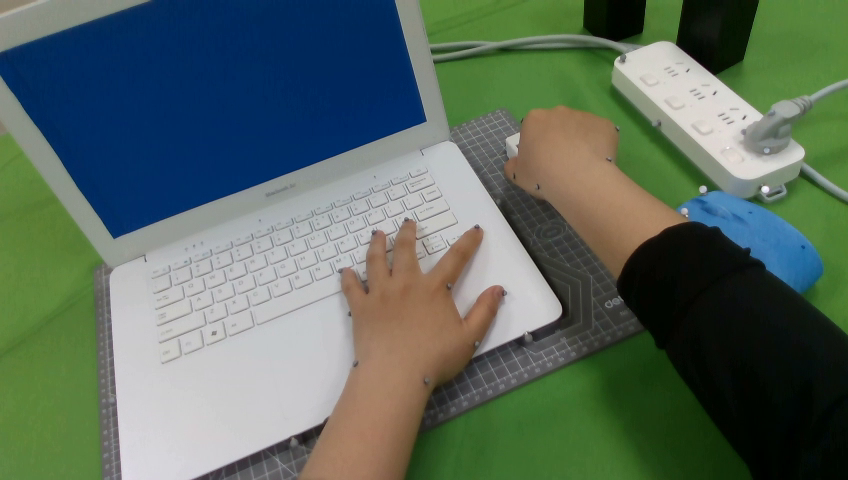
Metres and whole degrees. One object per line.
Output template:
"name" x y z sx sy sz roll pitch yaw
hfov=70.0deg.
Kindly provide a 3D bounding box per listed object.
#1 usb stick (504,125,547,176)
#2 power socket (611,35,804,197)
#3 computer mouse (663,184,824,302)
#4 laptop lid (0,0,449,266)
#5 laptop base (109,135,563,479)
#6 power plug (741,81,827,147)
"usb stick" 0.095 -0.090 0.584 0.021 0.027 0.058 -22 50 -10
"power socket" 0.261 -0.126 0.579 0.072 0.033 0.224 -22 50 -5
"computer mouse" 0.249 -0.005 0.479 0.063 0.041 0.116 -28 46 -10
"laptop lid" -0.162 -0.126 0.525 0.357 0.244 0.013 -24 38 -6
"laptop base" -0.091 0.043 0.524 0.354 0.023 0.233 -23 54 -7
"power plug" 0.311 -0.099 0.519 0.072 0.053 0.035 -14 53 0
